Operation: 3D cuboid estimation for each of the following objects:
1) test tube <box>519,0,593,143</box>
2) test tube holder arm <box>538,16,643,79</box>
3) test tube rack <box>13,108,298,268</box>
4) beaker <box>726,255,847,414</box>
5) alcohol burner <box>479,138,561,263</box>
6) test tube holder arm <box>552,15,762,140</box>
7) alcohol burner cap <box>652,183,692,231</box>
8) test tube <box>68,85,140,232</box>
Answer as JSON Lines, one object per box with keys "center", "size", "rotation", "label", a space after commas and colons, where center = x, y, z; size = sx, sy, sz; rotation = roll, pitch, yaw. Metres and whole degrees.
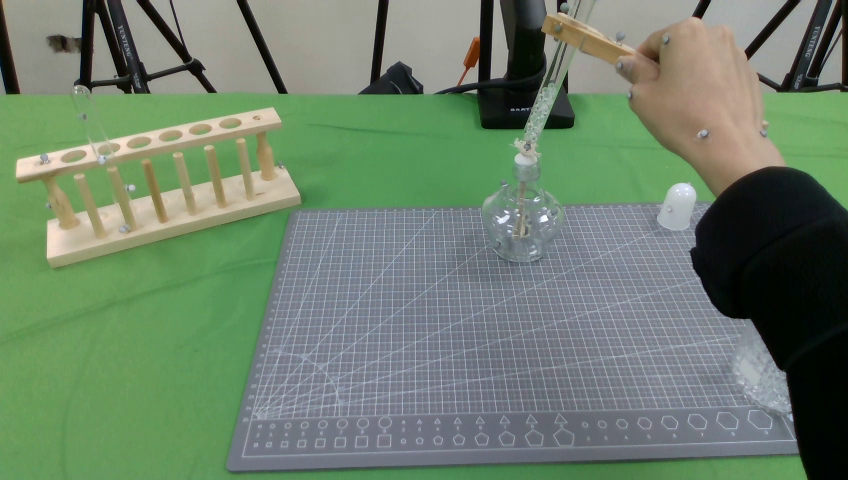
{"center": [0.105, -0.142, 0.476], "size": [0.017, 0.151, 0.017], "rotation": [11, 39, -8], "label": "test tube"}
{"center": [0.123, -0.144, 0.449], "size": [0.087, 0.015, 0.010], "rotation": [36, 42, 25], "label": "test tube holder arm"}
{"center": [-0.258, -0.057, 0.608], "size": [0.243, 0.086, 0.066], "rotation": [-17, 43, -19], "label": "test tube rack"}
{"center": [0.268, 0.070, 0.441], "size": [0.074, 0.101, 0.083], "rotation": [-20, 43, -23], "label": "beaker"}
{"center": [0.090, -0.039, 0.560], "size": [0.078, 0.120, 0.077], "rotation": [-1, 38, 1], "label": "alcohol burner"}
{"center": [0.157, -0.120, 0.432], "size": [0.013, 0.015, 0.176], "rotation": [-22, 51, -37], "label": "test tube holder arm"}
{"center": [0.253, -0.036, 0.614], "size": [0.034, 0.048, 0.033], "rotation": [0, 40, 0], "label": "alcohol burner cap"}
{"center": [-0.291, -0.070, 0.554], "size": [0.017, 0.152, 0.017], "rotation": [-1, 39, 1], "label": "test tube"}
